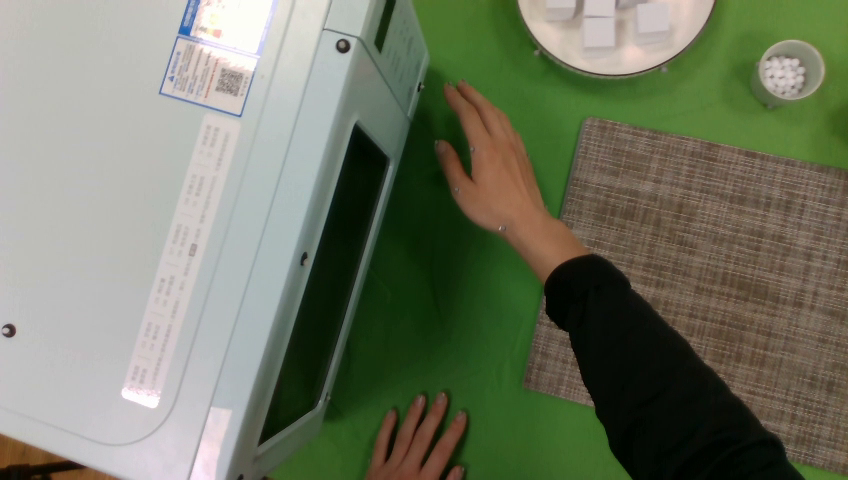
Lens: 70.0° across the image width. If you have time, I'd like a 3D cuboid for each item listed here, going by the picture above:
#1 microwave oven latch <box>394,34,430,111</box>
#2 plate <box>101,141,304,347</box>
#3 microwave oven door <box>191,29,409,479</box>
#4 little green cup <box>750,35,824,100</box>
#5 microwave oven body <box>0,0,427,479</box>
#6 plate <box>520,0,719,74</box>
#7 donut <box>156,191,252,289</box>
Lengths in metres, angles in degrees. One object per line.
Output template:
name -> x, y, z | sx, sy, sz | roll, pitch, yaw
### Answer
microwave oven latch -> -0.017, -0.181, 0.645 | 0.030, 0.029, 0.079 | 20, 91, 7
plate -> -0.221, 0.004, 0.619 | 0.209, 0.038, 0.209 | 0, 88, 6
microwave oven door -> -0.096, 0.024, 0.545 | 0.039, 0.244, 0.355 | 17, 90, 8
little green cup -> 0.367, -0.173, 0.618 | 0.061, 0.039, 0.061 | 0, 88, 7
microwave oven body -> -0.221, -0.058, 0.569 | 0.325, 0.260, 0.441 | 17, 91, 7
plate -> 0.204, -0.275, 0.641 | 0.207, 0.039, 0.207 | 0, 88, 7
donut -> -0.220, 0.000, 0.605 | 0.099, 0.048, 0.099 | 0, 90, 9
